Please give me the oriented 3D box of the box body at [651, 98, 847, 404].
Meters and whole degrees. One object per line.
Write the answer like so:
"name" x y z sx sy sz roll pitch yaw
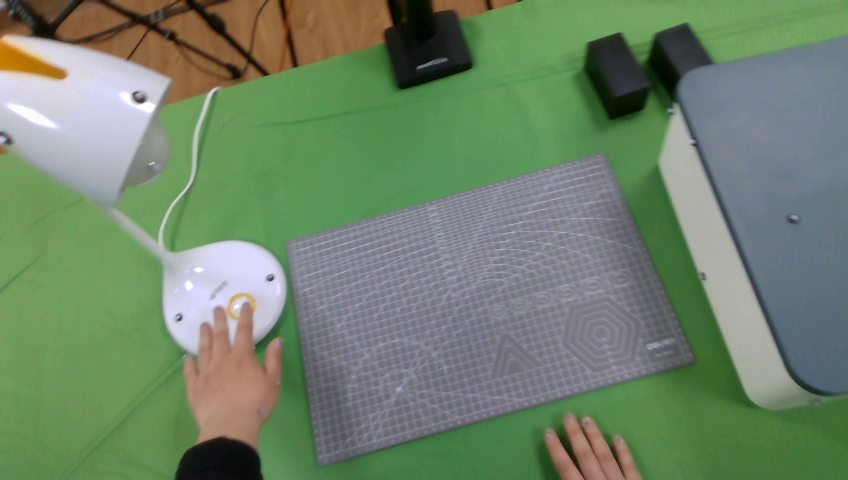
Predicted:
"box body" 0.429 -0.023 0.663 0.254 0.162 0.360 -13 65 2

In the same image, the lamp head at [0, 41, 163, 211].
"lamp head" -0.277 -0.093 0.460 0.123 0.112 0.111 20 66 -20

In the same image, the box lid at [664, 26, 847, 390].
"box lid" 0.419 -0.056 0.598 0.263 0.015 0.368 -13 65 3

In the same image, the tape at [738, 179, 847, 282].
"tape" 0.436 -0.012 0.712 0.117 0.053 0.116 -3 65 6

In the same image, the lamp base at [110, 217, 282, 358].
"lamp base" -0.287 0.041 0.729 0.178 0.182 0.160 20 70 19
